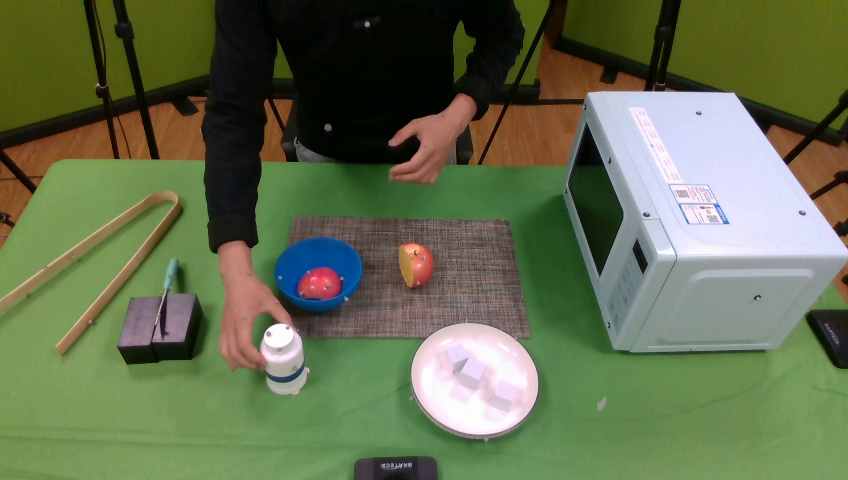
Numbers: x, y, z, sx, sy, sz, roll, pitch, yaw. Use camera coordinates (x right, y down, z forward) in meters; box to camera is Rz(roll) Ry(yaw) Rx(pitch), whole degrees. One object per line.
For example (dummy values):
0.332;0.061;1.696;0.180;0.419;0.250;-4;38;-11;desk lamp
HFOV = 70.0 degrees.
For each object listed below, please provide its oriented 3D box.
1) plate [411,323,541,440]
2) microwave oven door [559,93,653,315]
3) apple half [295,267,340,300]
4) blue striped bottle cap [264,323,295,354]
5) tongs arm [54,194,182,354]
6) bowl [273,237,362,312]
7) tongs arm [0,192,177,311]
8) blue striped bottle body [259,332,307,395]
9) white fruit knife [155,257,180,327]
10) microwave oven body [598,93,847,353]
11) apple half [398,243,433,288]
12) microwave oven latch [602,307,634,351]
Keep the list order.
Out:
0.082;0.228;0.976;0.208;0.039;0.206;2;45;-2;plate
0.327;-0.074;1.123;0.039;0.245;0.353;-1;46;-5;microwave oven door
-0.187;0.070;1.067;0.081;0.033;0.081;3;47;-3;apple half
-0.215;0.146;0.901;0.044;0.021;0.044;1;46;-1;blue striped bottle cap
-0.543;0.048;1.107;0.028;0.028;0.385;11;45;10;tongs arm
-0.185;0.074;1.069;0.151;0.077;0.150;3;45;-3;bowl
-0.618;0.019;1.124;0.050;0.026;0.384;24;47;17;tongs arm
-0.219;0.182;0.938;0.063;0.121;0.062;2;46;-1;blue striped bottle body
-0.440;0.085;1.037;0.016;0.027;0.206;11;26;-19;white fruit knife
0.475;-0.041;1.109;0.326;0.261;0.438;-1;45;-4;microwave oven body
-0.012;0.046;1.115;0.053;0.075;0.080;-11;44;-20;apple half
0.332;0.153;1.044;0.030;0.029;0.078;-1;45;-4;microwave oven latch
